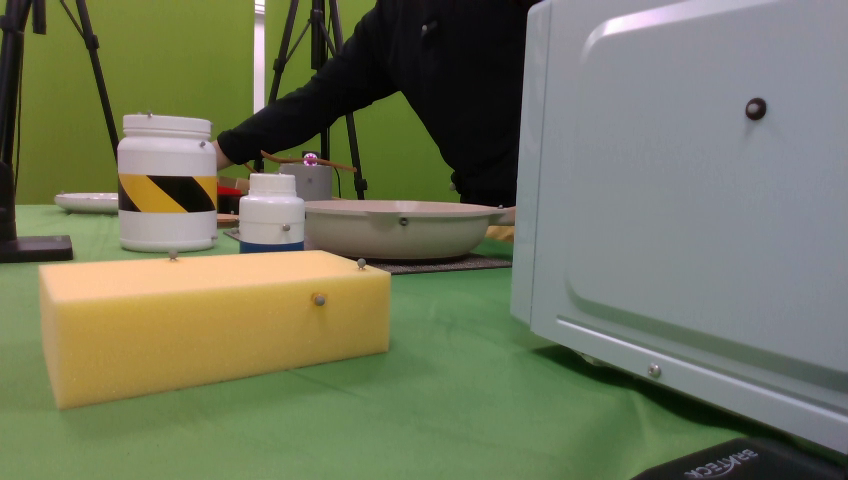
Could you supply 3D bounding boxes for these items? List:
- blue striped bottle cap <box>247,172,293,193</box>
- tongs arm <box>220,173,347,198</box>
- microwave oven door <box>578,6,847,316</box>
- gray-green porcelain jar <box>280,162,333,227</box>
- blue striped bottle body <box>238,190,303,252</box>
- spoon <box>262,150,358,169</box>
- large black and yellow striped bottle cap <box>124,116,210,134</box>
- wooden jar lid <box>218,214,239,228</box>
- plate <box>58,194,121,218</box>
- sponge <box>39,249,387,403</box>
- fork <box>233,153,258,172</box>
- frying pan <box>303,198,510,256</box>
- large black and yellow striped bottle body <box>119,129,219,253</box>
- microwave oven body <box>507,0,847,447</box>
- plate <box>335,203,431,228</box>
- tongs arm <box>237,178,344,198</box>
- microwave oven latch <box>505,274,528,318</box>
[{"bbox_3d":[-0.152,-0.057,0.598,0.044,0.020,0.044,3,6,0],"label":"blue striped bottle cap"},{"bbox_3d":[-0.285,-0.109,1.445,0.389,0.027,0.028,10,-1,-23],"label":"tongs arm"},{"bbox_3d":[0.294,-0.067,0.570,0.358,0.243,0.039,-3,9,-31],"label":"microwave oven door"},{"bbox_3d":[-0.237,-0.092,1.221,0.106,0.126,0.106,2,7,0],"label":"gray-green porcelain jar"},{"bbox_3d":[-0.153,-0.007,0.606,0.063,0.120,0.063,2,8,0],"label":"blue striped bottle body"},{"bbox_3d":[-0.229,-0.162,1.221,0.194,0.021,0.041,4,5,-16],"label":"spoon"},{"bbox_3d":[-0.366,-0.163,0.866,0.115,0.019,0.115,3,7,0],"label":"large black and yellow striped bottle cap"},{"bbox_3d":[-0.404,-0.037,1.169,0.108,0.020,0.108,3,7,0],"label":"wooden jar lid"},{"bbox_3d":[-0.671,-0.074,1.310,0.209,0.038,0.209,2,8,0],"label":"plate"},{"bbox_3d":[-0.142,0.047,0.420,0.208,0.061,0.117,-3,8,-36],"label":"sponge"},{"bbox_3d":[-0.396,-0.143,1.486,0.028,0.018,0.208,21,-25,45],"label":"fork"},{"bbox_3d":[0.062,-0.040,0.891,0.488,0.102,0.307,-7,6,6],"label":"frying pan"},{"bbox_3d":[-0.367,-0.080,0.876,0.131,0.184,0.130,1,8,0],"label":"large black and yellow striped bottle body"},{"bbox_3d":[0.331,-0.042,0.425,0.444,0.260,0.324,-2,8,-31],"label":"microwave oven body"},{"bbox_3d":[-0.089,-0.054,1.309,0.208,0.039,0.207,2,8,0],"label":"plate"},{"bbox_3d":[-0.242,-0.096,1.374,0.387,0.026,0.050,9,3,-37],"label":"tongs arm"},{"bbox_3d":[0.100,0.041,0.472,0.079,0.029,0.030,-2,8,-31],"label":"microwave oven latch"}]
